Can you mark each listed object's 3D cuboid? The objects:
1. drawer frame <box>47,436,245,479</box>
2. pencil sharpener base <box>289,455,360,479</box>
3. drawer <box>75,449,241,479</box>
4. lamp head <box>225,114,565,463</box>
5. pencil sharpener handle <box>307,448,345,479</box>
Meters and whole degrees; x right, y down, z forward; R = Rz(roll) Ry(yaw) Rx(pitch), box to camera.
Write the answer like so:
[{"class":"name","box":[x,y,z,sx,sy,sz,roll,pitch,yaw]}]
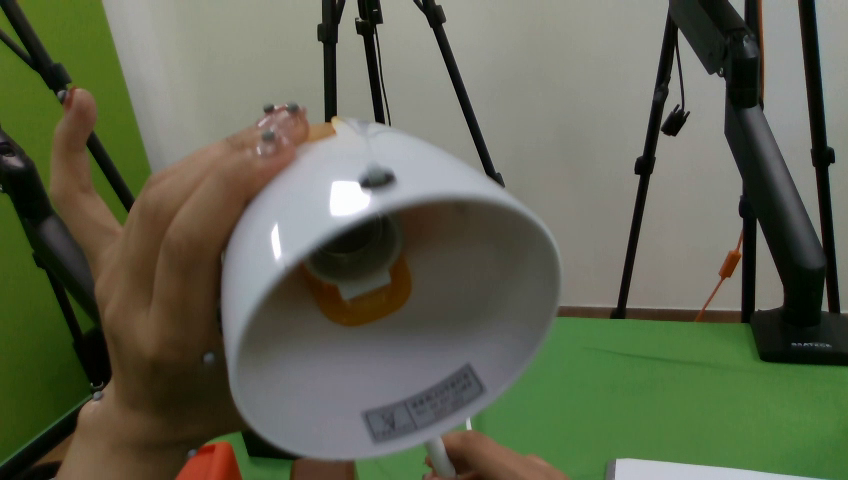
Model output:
[{"class":"drawer frame","box":[-0.289,0.301,0.573,0.202,0.083,0.212,-12,20,-6]},{"class":"pencil sharpener base","box":[-0.087,0.259,0.570,0.061,0.108,0.076,-11,21,-5]},{"class":"drawer","box":[-0.286,0.304,0.571,0.195,0.073,0.210,-11,20,-5]},{"class":"lamp head","box":[-0.023,0.006,0.235,0.112,0.113,0.121,-15,34,-17]},{"class":"pencil sharpener handle","box":[-0.098,0.231,0.613,0.036,0.068,0.030,-6,21,-7]}]
